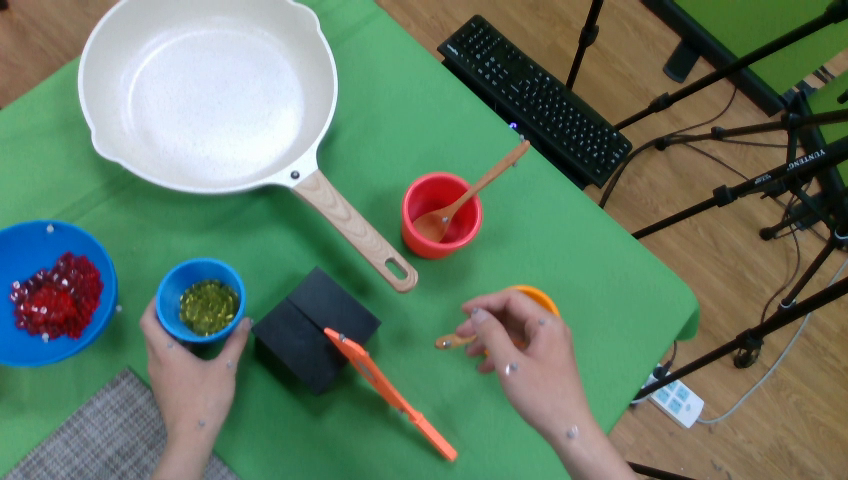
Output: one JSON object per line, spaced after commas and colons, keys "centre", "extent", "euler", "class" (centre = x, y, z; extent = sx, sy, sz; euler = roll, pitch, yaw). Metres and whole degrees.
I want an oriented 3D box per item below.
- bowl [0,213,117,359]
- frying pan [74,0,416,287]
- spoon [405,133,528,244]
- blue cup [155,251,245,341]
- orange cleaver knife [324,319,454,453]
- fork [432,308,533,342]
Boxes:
{"centre": [-0.397, 0.054, 0.641], "extent": [0.152, 0.077, 0.150], "euler": [3, 74, -11], "class": "bowl"}
{"centre": [-0.186, -0.119, 0.719], "extent": [0.306, 0.103, 0.485], "euler": [-40, 77, -18], "class": "frying pan"}
{"centre": [0.050, -0.061, 0.728], "extent": [0.194, 0.022, 0.041], "euler": [-41, 81, 25], "class": "spoon"}
{"centre": [-0.235, 0.064, 0.659], "extent": [0.093, 0.100, 0.092], "euler": [3, 76, -10], "class": "blue cup"}
{"centre": [-0.038, 0.164, 0.678], "extent": [0.012, 0.076, 0.213], "euler": [-46, 115, -19], "class": "orange cleaver knife"}
{"centre": [0.071, 0.096, 0.684], "extent": [0.208, 0.018, 0.028], "euler": [2, 68, -56], "class": "fork"}
